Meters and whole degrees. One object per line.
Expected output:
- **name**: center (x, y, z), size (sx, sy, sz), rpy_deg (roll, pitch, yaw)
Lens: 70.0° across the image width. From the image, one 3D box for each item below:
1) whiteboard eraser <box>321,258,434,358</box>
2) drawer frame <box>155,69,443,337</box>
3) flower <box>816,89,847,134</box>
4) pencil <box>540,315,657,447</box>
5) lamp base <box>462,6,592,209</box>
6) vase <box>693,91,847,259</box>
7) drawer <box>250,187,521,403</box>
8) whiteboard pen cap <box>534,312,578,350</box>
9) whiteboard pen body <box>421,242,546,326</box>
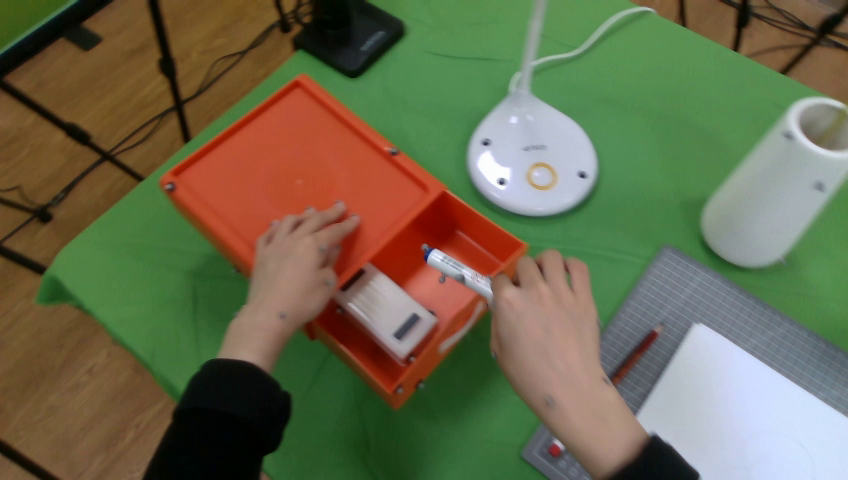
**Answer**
- **whiteboard eraser**: center (-0.048, 0.063, 0.596), size (0.112, 0.042, 0.055), rpy_deg (36, 64, 25)
- **drawer frame**: center (-0.125, -0.043, 0.635), size (0.212, 0.083, 0.201), rpy_deg (40, 70, 14)
- **flower**: center (0.370, -0.109, 0.558), size (0.038, 0.364, 0.044), rpy_deg (22, 46, 5)
- **pencil**: center (0.184, 0.140, 0.623), size (0.194, 0.012, 0.012), rpy_deg (-41, 68, -21)
- **lamp base**: center (0.121, -0.155, 0.688), size (0.161, 0.182, 0.177), rpy_deg (-16, 60, -8)
- **vase**: center (0.355, -0.061, 0.625), size (0.098, 0.201, 0.097), rpy_deg (-1, 60, 2)
- **drawer**: center (-0.045, 0.020, 0.606), size (0.210, 0.074, 0.194), rpy_deg (37, 68, 20)
- **whiteboard pen cap**: center (0.101, 0.070, 0.469), size (0.033, 0.018, 0.018), rpy_deg (31, 66, 22)
- **whiteboard pen body**: center (0.055, 0.041, 0.491), size (0.140, 0.017, 0.017), rpy_deg (31, 66, 22)
